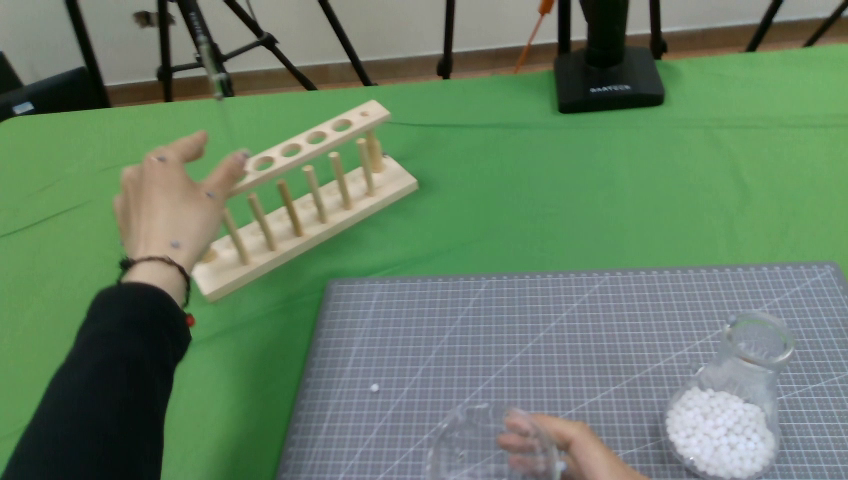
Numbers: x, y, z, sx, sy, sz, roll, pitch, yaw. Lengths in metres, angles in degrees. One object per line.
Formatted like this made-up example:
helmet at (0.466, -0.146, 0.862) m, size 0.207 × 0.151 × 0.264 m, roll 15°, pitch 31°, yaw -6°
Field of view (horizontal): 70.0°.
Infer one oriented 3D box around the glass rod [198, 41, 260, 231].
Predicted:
glass rod at (-0.179, -0.088, 0.570) m, size 0.008 × 0.201 × 0.008 m, roll -3°, pitch 39°, yaw 3°

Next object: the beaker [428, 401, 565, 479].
beaker at (0.044, 0.155, 0.372) m, size 0.074 × 0.101 × 0.083 m, roll -25°, pitch 46°, yaw -13°

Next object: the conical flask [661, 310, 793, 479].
conical flask at (0.197, 0.095, 0.383) m, size 0.075 × 0.123 × 0.074 m, roll -6°, pitch 46°, yaw 6°

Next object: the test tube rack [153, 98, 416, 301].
test tube rack at (-0.131, -0.046, 0.611) m, size 0.242 × 0.086 × 0.066 m, roll -31°, pitch 48°, yaw -18°
